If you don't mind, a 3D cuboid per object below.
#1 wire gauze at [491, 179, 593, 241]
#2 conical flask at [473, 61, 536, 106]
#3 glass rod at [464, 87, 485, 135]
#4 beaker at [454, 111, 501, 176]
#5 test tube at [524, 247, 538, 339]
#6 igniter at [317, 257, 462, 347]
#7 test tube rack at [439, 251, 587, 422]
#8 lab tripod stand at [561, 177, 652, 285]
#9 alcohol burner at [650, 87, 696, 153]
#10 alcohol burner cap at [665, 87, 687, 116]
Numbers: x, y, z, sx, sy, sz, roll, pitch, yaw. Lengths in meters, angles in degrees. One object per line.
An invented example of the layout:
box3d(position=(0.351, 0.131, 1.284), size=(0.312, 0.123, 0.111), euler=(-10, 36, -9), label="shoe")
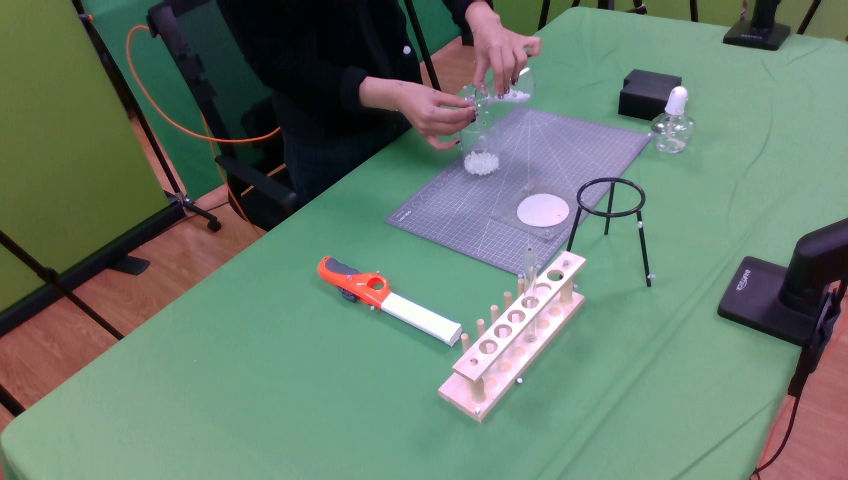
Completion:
box3d(position=(0.198, -0.051, 1.014), size=(0.125, 0.011, 0.120), euler=(-38, 48, -27), label="wire gauze")
box3d(position=(0.138, -0.270, 1.077), size=(0.074, 0.075, 0.122), euler=(27, 41, 35), label="conical flask")
box3d(position=(0.088, -0.217, 1.032), size=(0.008, 0.200, 0.008), euler=(-2, 79, 13), label="glass rod")
box3d(position=(0.101, -0.174, 1.106), size=(0.084, 0.101, 0.073), euler=(-5, 40, 6), label="beaker")
box3d(position=(0.133, 0.070, 0.749), size=(0.017, 0.151, 0.017), euler=(-5, 38, 4), label="test tube")
box3d(position=(-0.061, 0.086, 0.891), size=(0.274, 0.025, 0.057), euler=(23, 59, 33), label="igniter")
box3d(position=(0.118, 0.111, 0.780), size=(0.066, 0.085, 0.243), euler=(26, 51, 34), label="test tube rack")
box3d(position=(0.263, -0.014, 0.864), size=(0.148, 0.132, 0.147), euler=(-7, 38, 6), label="lab tripod stand")
box3d(position=(0.448, -0.217, 1.084), size=(0.078, 0.119, 0.077), euler=(-6, 38, 5), label="alcohol burner")
box3d(position=(0.445, -0.244, 1.060), size=(0.034, 0.048, 0.033), euler=(-2, 45, 3), label="alcohol burner cap")
